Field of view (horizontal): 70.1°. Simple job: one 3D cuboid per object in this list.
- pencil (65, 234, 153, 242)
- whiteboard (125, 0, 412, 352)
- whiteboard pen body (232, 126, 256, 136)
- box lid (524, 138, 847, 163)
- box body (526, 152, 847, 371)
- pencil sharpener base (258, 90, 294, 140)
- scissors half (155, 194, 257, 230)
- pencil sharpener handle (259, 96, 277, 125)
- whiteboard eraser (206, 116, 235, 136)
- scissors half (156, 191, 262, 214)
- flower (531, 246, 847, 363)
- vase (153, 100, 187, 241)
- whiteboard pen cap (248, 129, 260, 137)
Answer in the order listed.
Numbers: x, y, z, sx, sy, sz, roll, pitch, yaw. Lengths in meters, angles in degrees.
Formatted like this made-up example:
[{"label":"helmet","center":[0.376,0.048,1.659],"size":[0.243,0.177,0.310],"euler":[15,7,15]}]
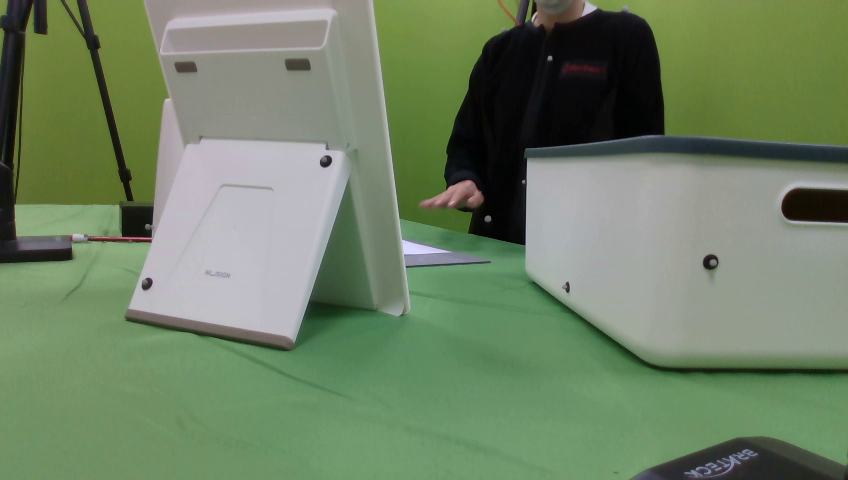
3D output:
[{"label":"pencil","center":[-0.429,-0.001,0.911],"size":[0.195,0.012,0.012],"euler":[1,8,-19]},{"label":"whiteboard","center":[-0.151,-0.049,0.472],"size":[0.216,0.305,0.144],"euler":[6,27,24]},{"label":"whiteboard pen body","center":[-0.407,-0.247,1.372],"size":[0.017,0.017,0.140],"euler":[-3,13,-35]},{"label":"box lid","center":[0.262,-0.076,0.573],"size":[0.264,0.015,0.371],"euler":[2,7,-6]},{"label":"box body","center":[0.259,-0.004,0.584],"size":[0.255,0.160,0.363],"euler":[2,7,-6]},{"label":"pencil sharpener base","center":[-0.341,-0.285,1.388],"size":[0.062,0.107,0.076],"euler":[-3,9,-36]},{"label":"scissors half","center":[-0.378,-0.051,1.058],"size":[0.176,0.040,0.012],"euler":[20,22,-31]},{"label":"pencil sharpener handle","center":[-0.373,-0.304,1.425],"size":[0.036,0.067,0.030],"euler":[14,-1,-37]},{"label":"whiteboard eraser","center":[-0.449,-0.251,1.335],"size":[0.056,0.042,0.112],"euler":[1,7,-22]},{"label":"scissors half","center":[-0.371,-0.069,1.051],"size":[0.176,0.040,0.013],"euler":[2,25,-24]},{"label":"flower","center":[0.251,0.063,0.602],"size":[0.359,0.038,0.044],"euler":[20,-13,49]},{"label":"vase","center":[-0.278,-0.066,0.736],"size":[0.098,0.200,0.098],"euler":[2,9,0]},{"label":"whiteboard pen cap","center":[-0.373,-0.235,1.326],"size":[0.018,0.018,0.033],"euler":[-3,12,-35]}]
